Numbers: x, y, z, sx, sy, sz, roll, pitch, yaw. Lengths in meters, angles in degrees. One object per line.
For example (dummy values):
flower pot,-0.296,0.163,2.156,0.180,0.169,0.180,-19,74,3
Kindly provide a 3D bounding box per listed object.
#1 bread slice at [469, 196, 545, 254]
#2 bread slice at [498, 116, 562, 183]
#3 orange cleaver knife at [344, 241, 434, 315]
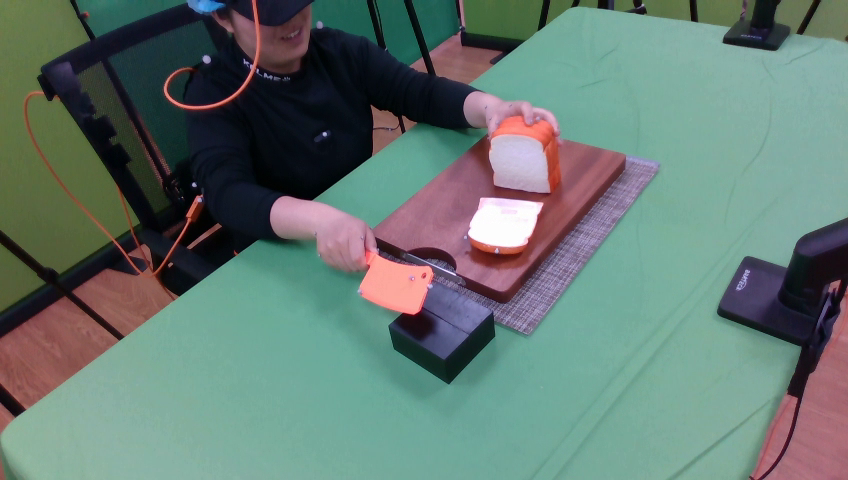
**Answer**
bread slice,0.125,-0.024,0.943,0.104,0.019,0.131,8,39,18
bread slice,0.175,-0.148,1.003,0.106,0.135,0.018,12,55,21
orange cleaver knife,-0.062,0.050,0.857,0.209,0.012,0.077,20,75,48
